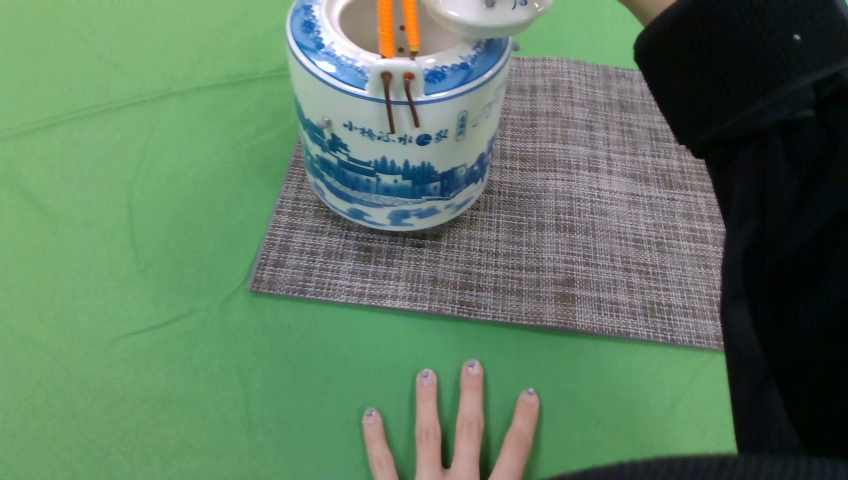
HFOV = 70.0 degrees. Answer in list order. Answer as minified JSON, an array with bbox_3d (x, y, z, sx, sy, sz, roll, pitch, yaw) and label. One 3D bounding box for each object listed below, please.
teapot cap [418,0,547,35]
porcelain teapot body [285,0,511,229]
[{"bbox_3d":[0.032,-0.155,0.351,0.085,0.044,0.084,1,57,-1],"label":"teapot cap"},{"bbox_3d":[-0.017,-0.143,0.421,0.145,0.227,0.203,2,54,-3],"label":"porcelain teapot body"}]
